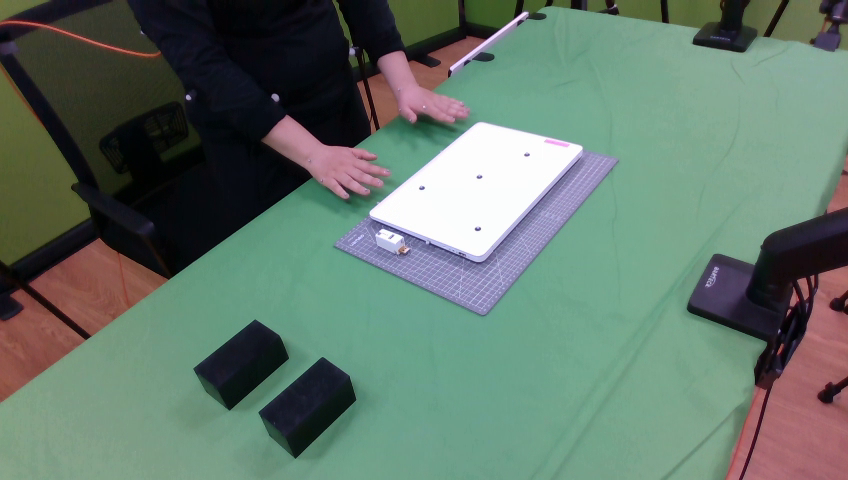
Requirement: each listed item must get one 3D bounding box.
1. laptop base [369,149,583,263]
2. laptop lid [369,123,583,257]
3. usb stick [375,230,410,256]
[{"bbox_3d":[0.101,-0.096,1.071,0.233,0.023,0.355,20,47,33],"label":"laptop base"},{"bbox_3d":[0.097,-0.106,1.065,0.239,0.013,0.358,22,48,33],"label":"laptop lid"},{"bbox_3d":[-0.049,0.007,0.962,0.059,0.027,0.021,25,46,28],"label":"usb stick"}]
